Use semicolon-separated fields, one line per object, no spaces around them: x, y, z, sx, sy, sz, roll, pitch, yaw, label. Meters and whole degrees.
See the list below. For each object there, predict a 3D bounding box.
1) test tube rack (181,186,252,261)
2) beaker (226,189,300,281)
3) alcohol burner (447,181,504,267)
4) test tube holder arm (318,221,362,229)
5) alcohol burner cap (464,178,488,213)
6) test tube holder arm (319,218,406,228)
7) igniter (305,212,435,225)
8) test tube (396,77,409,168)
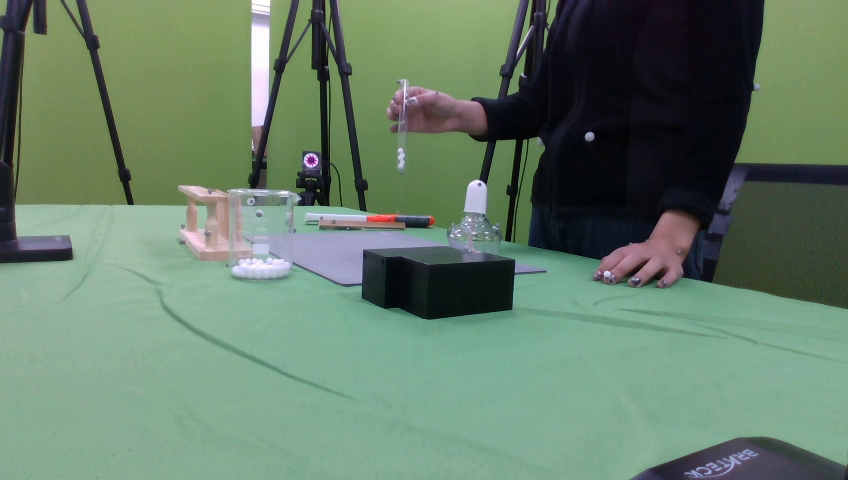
-0.312;-0.031;0.893;0.067;0.085;0.241;-1;8;-27;test tube rack
-0.184;-0.007;0.694;0.084;0.100;0.073;-1;8;-29;beaker
0.070;-0.024;0.828;0.078;0.119;0.078;1;6;0;alcohol burner
-0.166;-0.031;1.203;0.088;0.015;0.010;0;-23;-20;test tube holder arm
0.073;-0.060;0.824;0.034;0.048;0.034;6;4;0;alcohol burner cap
-0.122;-0.032;1.214;0.179;0.015;0.013;1;-23;-21;test tube holder arm
-0.113;-0.046;1.299;0.277;0.025;0.057;1;-3;-12;igniter
-0.033;-0.186;0.956;0.017;0.150;0.017;2;-12;1;test tube
